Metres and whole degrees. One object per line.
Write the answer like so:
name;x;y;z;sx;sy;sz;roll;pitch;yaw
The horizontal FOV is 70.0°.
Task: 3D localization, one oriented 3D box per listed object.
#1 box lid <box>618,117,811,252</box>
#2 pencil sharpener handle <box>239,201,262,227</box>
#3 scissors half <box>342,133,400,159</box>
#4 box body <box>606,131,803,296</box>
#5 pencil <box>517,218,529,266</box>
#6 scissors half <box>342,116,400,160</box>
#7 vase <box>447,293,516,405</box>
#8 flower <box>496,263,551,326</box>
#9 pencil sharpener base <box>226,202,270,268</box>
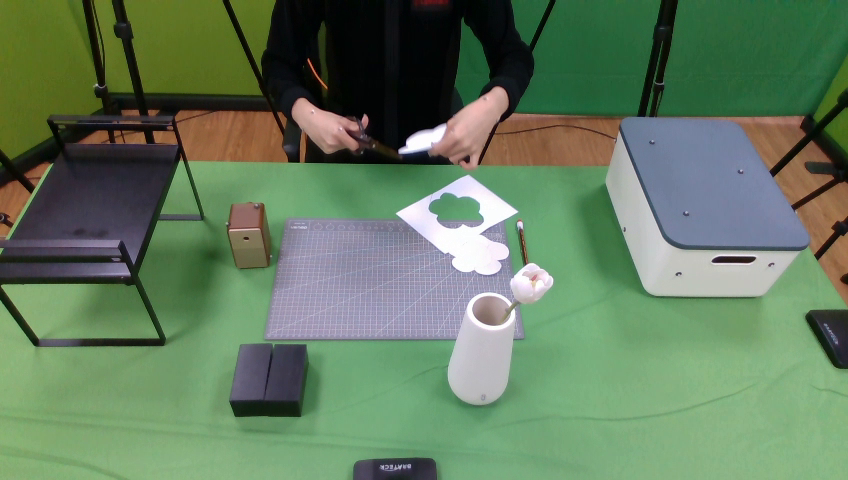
box lid;0.534;-0.117;1.149;0.263;0.015;0.369;0;47;-3
pencil sharpener handle;-0.325;-0.056;1.150;0.036;0.068;0.030;-13;46;4
scissors half;-0.099;-0.168;1.115;0.013;0.040;0.174;-19;27;-36
box body;0.530;-0.067;1.204;0.254;0.161;0.361;0;46;-4
pencil;0.200;0.028;1.196;0.012;0.012;0.193;1;48;-3
scissors half;-0.098;-0.185;1.106;0.013;0.040;0.174;-25;48;-33
vase;0.091;0.169;0.921;0.098;0.201;0.097;3;47;-3
flower;0.102;0.120;0.853;0.044;0.363;0.038;-1;64;-10
pencil sharpener base;-0.323;-0.010;1.123;0.061;0.107;0.076;-3;46;-7
